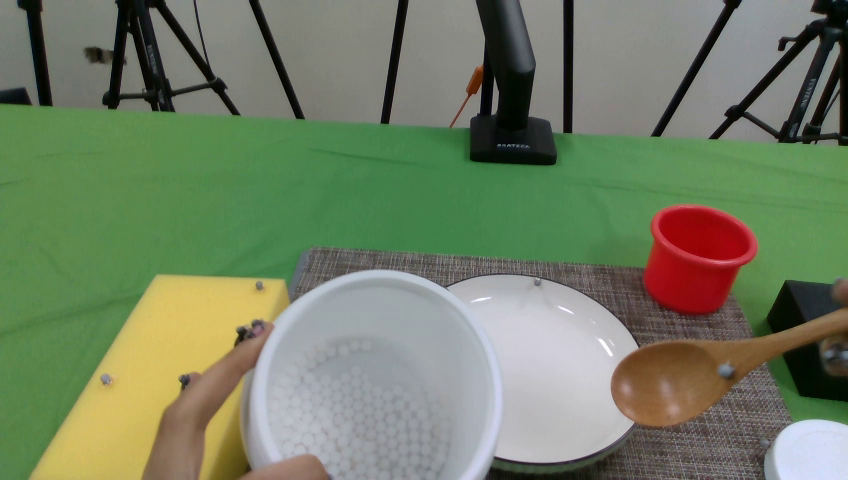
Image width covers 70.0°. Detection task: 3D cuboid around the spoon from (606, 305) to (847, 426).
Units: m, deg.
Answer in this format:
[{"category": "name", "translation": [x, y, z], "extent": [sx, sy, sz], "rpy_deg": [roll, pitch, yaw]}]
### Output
[{"category": "spoon", "translation": [0.171, 0.041, 0.266], "extent": [0.022, 0.193, 0.041], "rpy_deg": [15, 53, -46]}]

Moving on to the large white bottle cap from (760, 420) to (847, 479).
[{"category": "large white bottle cap", "translation": [0.313, 0.186, 0.449], "extent": [0.115, 0.018, 0.113], "rpy_deg": [3, 38, -2]}]

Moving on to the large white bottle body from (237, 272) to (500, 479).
[{"category": "large white bottle body", "translation": [-0.033, 0.097, 0.344], "extent": [0.131, 0.185, 0.129], "rpy_deg": [4, 68, -9]}]

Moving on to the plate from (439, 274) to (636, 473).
[{"category": "plate", "translation": [0.079, 0.109, 0.517], "extent": [0.209, 0.038, 0.207], "rpy_deg": [2, 38, -1]}]

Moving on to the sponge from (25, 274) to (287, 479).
[{"category": "sponge", "translation": [-0.189, 0.117, 0.478], "extent": [0.118, 0.061, 0.205], "rpy_deg": [2, 37, 2]}]
